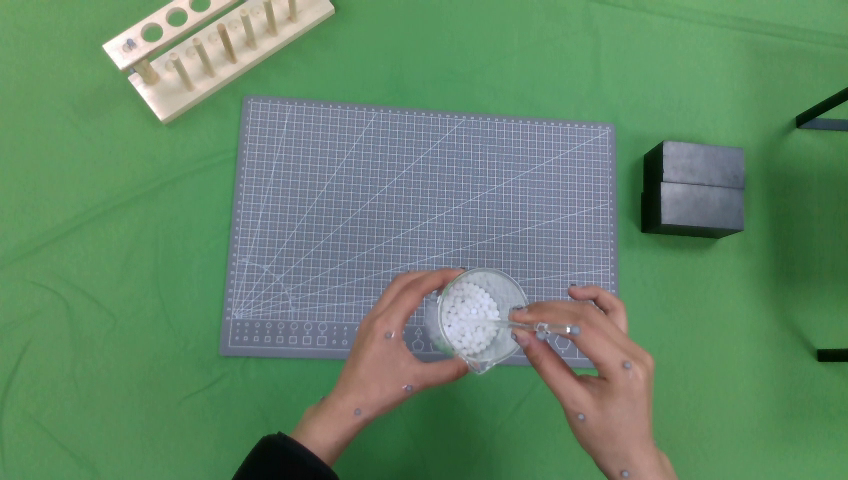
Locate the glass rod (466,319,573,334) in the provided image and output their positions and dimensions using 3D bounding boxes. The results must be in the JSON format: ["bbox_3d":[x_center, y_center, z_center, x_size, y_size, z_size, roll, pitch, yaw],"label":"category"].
[{"bbox_3d":[0.062,0.063,0.448,0.008,0.199,0.008,1,83,-13],"label":"glass rod"}]

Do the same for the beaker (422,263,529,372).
[{"bbox_3d":[0.038,0.067,0.511,0.074,0.100,0.083,6,80,-7],"label":"beaker"}]

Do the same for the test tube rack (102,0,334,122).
[{"bbox_3d":[-0.219,-0.239,0.677,0.242,0.085,0.066,-38,85,-11],"label":"test tube rack"}]
